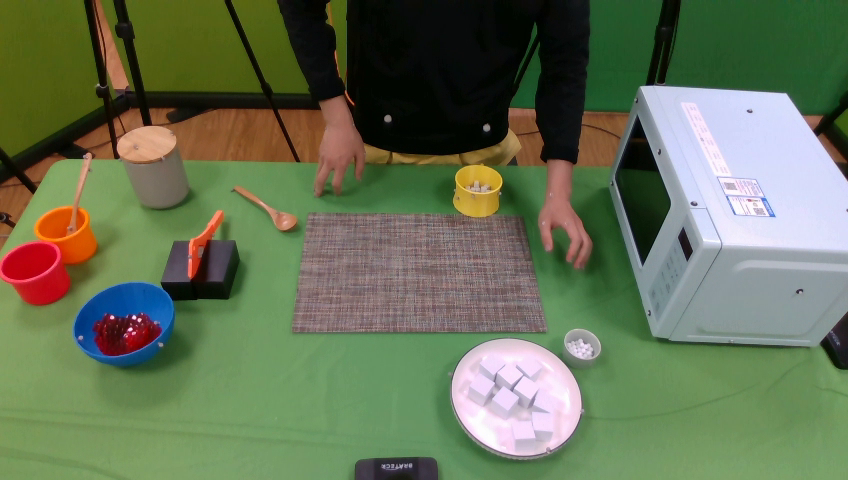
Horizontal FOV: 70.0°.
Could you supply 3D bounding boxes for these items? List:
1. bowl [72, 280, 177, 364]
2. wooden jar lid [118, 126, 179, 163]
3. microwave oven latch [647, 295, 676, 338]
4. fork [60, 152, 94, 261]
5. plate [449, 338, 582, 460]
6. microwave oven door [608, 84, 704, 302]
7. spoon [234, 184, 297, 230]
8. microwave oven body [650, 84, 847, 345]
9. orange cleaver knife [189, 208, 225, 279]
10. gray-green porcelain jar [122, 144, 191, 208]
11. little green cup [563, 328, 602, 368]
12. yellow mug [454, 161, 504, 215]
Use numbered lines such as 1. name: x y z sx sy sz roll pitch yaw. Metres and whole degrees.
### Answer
1. bowl: -0.472 0.147 0.982 0.151 0.077 0.150 2 46 -2
2. wooden jar lid: -0.528 -0.181 1.167 0.108 0.021 0.107 3 47 -3
3. microwave oven latch: 0.413 0.133 1.060 0.030 0.029 0.078 4 46 1
4. fork: -0.639 -0.063 1.119 0.028 0.018 0.207 12 90 5
5. plate: 0.141 0.251 0.956 0.208 0.039 0.206 2 46 -2
6. microwave oven door: 0.424 -0.096 1.138 0.039 0.245 0.353 3 46 -1
7. spoon: -0.327 -0.073 1.239 0.193 0.022 0.041 34 70 25
8. microwave oven body: 0.569 -0.054 1.116 0.326 0.261 0.439 2 46 -1
9. orange cleaver knife: -0.400 0.002 1.122 0.012 0.077 0.210 4 23 -4
10. gray-green porcelain jar: -0.531 -0.136 1.213 0.106 0.127 0.105 2 47 -2
11. little green cup: 0.265 0.184 1.025 0.061 0.039 0.061 1 46 -1
12. yellow mug: 0.118 -0.119 1.283 0.100 0.064 0.130 8 43 6
